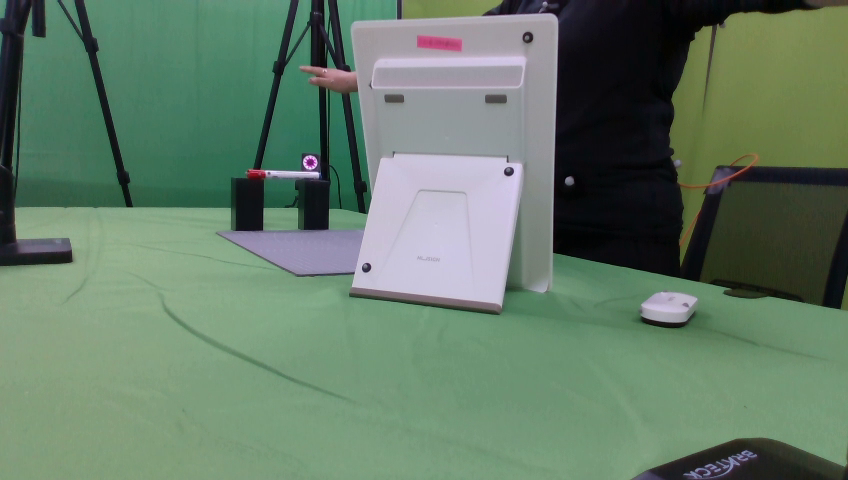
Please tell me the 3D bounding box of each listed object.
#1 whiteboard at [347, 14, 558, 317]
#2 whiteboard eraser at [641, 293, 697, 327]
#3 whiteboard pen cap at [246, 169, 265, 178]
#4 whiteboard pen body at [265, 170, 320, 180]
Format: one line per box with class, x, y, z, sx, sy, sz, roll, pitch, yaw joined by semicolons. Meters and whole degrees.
whiteboard;0.012;-0.056;0.609;0.216;0.305;0.144;5;27;20
whiteboard eraser;0.240;0.066;0.590;0.041;0.019;0.102;6;7;31
whiteboard pen cap;-0.318;-0.125;1.143;0.032;0.017;0.017;-1;8;-35
whiteboard pen body;-0.268;-0.127;1.179;0.141;0.017;0.017;-2;8;-36
